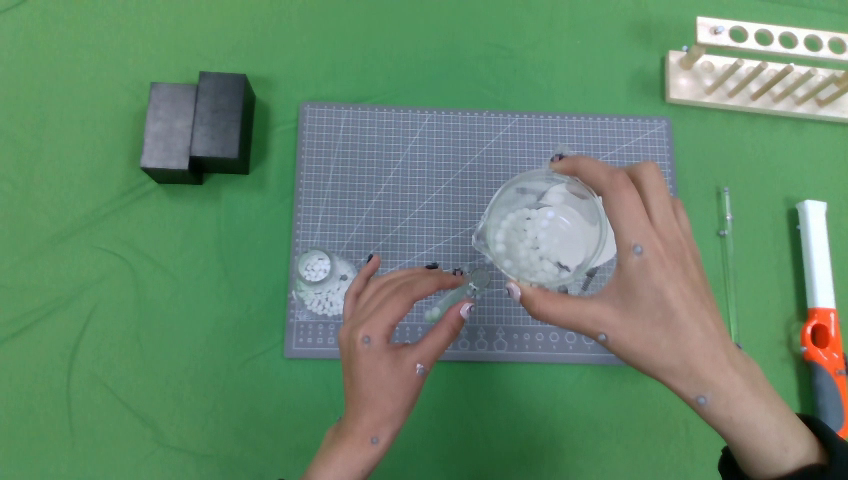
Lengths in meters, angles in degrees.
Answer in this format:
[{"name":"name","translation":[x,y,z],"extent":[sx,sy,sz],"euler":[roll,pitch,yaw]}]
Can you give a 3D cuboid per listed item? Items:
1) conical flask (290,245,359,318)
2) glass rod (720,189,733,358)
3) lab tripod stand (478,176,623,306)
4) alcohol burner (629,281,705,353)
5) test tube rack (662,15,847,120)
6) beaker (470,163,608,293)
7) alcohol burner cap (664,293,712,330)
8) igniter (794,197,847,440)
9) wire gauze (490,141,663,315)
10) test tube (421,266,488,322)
[{"name":"conical flask","translation":[-0.105,0.036,0.614],"extent":[0.075,0.122,0.075],"euler":[1,77,-4]},{"name":"glass rod","translation":[0.353,0.036,0.706],"extent":[0.008,0.008,0.199],"euler":[3,80,-3]},{"name":"lab tripod stand","translation":[0.137,-0.002,0.633],"extent":[0.148,0.132,0.147],"euler":[0,78,-2]},{"name":"alcohol burner","translation":[0.261,0.078,0.633],"extent":[0.078,0.119,0.077],"euler":[0,76,-1]},{"name":"test tube rack","translation":[0.422,-0.204,0.725],"extent":[0.242,0.085,0.066],"euler":[5,76,-2]},{"name":"beaker","translation":[0.077,-0.001,0.413],"extent":[0.084,0.101,0.073],"euler":[-12,79,8]},{"name":"alcohol burner cap","translation":[0.264,0.068,0.599],"extent":[0.034,0.048,0.033],"euler":[2,70,-6]},{"name":"igniter","translation":[0.451,0.085,0.692],"extent":[0.057,0.025,0.275],"euler":[7,77,-13]},{"name":"wire gauze","translation":[0.143,-0.015,0.567],"extent":[0.125,0.011,0.121],"euler":[38,79,5]},{"name":"test tube","translation":[0.021,0.047,0.491],"extent":[0.017,0.150,0.017],"euler":[4,72,-13]}]
